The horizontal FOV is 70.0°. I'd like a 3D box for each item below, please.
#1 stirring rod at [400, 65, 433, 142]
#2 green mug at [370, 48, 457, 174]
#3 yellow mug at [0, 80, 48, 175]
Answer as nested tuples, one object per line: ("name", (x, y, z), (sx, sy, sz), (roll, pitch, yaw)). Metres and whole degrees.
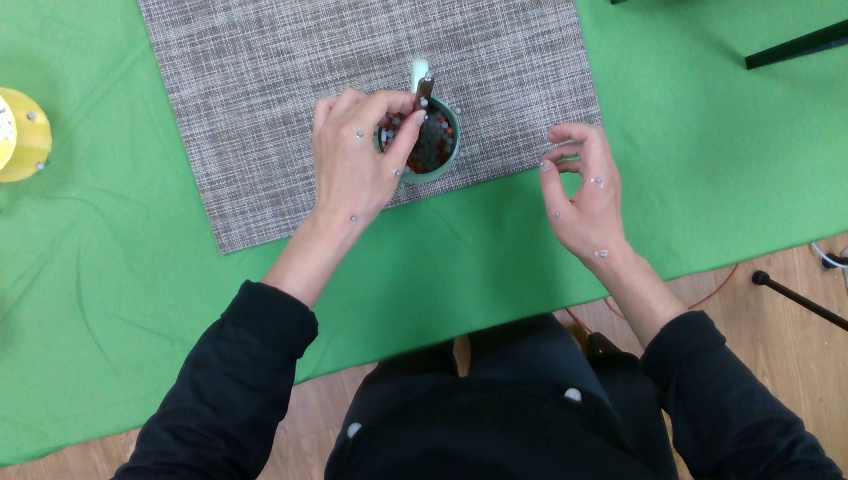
("stirring rod", (-0.009, -0.124, 0.571), (0.014, 0.176, 0.006), (-28, 85, -10))
("green mug", (-0.010, -0.130, 0.617), (0.092, 0.104, 0.125), (0, 97, -3))
("yellow mug", (-0.454, -0.101, 0.613), (0.100, 0.064, 0.131), (16, 97, -6))
